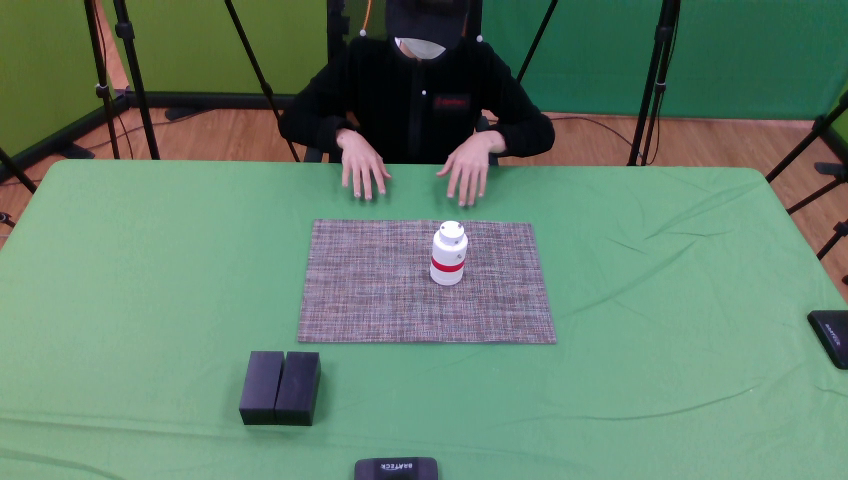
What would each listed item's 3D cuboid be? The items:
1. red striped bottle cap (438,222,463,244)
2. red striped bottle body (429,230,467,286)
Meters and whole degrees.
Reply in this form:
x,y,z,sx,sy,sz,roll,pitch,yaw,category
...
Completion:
x,y,z,sx,sy,sz,roll,pitch,yaw,category
0.047,-0.013,1.067,0.044,0.018,0.044,2,43,-2,red striped bottle cap
0.044,0.024,1.105,0.063,0.120,0.062,3,45,-2,red striped bottle body
